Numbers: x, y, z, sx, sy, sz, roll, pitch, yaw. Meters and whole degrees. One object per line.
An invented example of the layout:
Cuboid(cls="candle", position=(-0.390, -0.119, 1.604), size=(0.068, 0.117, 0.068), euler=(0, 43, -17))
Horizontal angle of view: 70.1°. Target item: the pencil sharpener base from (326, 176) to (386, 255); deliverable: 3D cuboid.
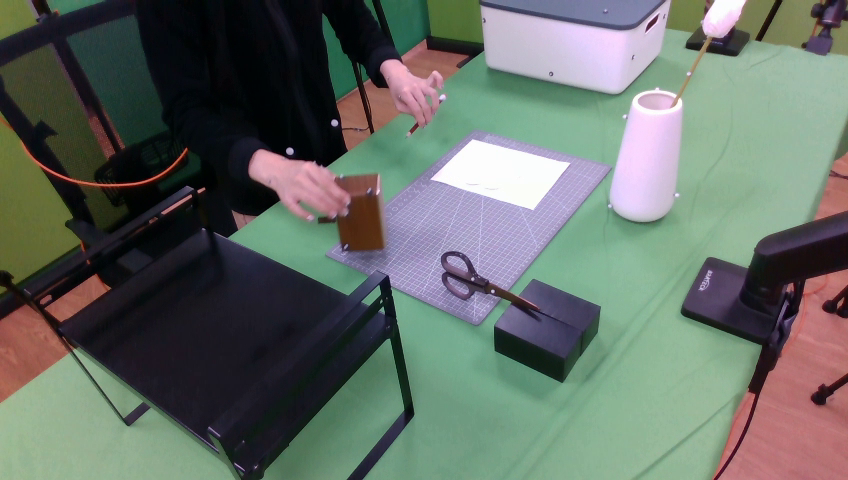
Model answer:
Cuboid(cls="pencil sharpener base", position=(-0.102, -0.035, 0.916), size=(0.077, 0.107, 0.061), euler=(-4, 35, 2))

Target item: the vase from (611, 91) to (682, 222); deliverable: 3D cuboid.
Cuboid(cls="vase", position=(0.348, -0.125, 0.935), size=(0.098, 0.201, 0.097), euler=(-3, 40, 3))

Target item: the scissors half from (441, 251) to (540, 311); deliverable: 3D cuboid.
Cuboid(cls="scissors half", position=(0.087, 0.056, 0.824), size=(0.013, 0.040, 0.173), euler=(-30, 44, -35))

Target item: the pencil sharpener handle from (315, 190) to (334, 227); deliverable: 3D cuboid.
Cuboid(cls="pencil sharpener handle", position=(-0.154, -0.044, 0.913), size=(0.030, 0.068, 0.036), euler=(-4, 46, 3))

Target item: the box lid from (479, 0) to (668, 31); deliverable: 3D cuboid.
Cuboid(cls="box lid", position=(0.335, -0.536, 1.331), size=(0.368, 0.015, 0.264), euler=(23, 49, 30))

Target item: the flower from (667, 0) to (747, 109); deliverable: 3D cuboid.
Cuboid(cls="flower", position=(0.354, -0.187, 0.879), size=(0.038, 0.362, 0.044), euler=(31, 48, 14))

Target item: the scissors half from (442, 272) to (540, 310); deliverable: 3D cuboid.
Cuboid(cls="scissors half", position=(0.089, 0.074, 0.832), size=(0.013, 0.040, 0.173), euler=(-24, 23, -38))

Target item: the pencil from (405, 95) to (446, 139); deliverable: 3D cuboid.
Cuboid(cls="pencil", position=(0.003, -0.238, 1.162), size=(0.012, 0.012, 0.194), euler=(11, 39, 20))

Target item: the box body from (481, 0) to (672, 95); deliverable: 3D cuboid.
Cuboid(cls="box body", position=(0.341, -0.480, 1.381), size=(0.361, 0.161, 0.255), euler=(22, 48, 30))
